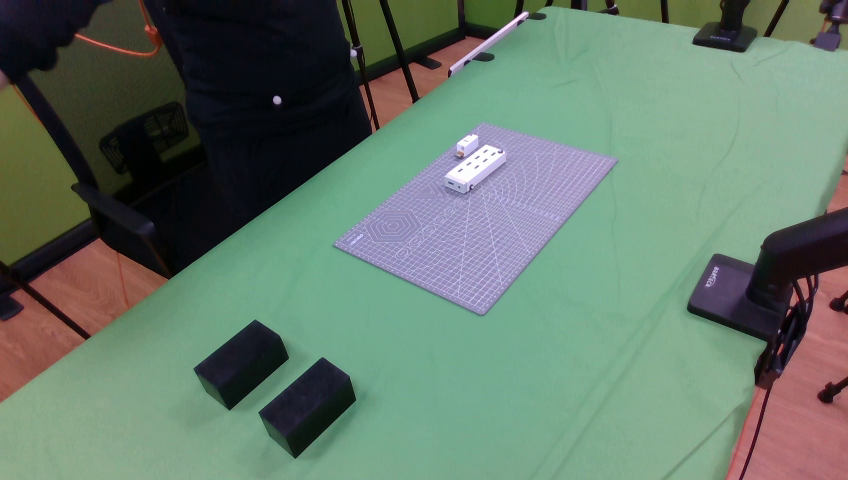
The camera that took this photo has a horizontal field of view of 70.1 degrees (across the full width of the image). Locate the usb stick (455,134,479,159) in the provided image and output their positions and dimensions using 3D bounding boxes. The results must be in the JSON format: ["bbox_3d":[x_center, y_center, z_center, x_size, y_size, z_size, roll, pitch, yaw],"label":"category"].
[{"bbox_3d":[0.080,-0.177,1.159,0.021,0.027,0.059,24,52,33],"label":"usb stick"}]

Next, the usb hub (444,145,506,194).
[{"bbox_3d":[0.095,-0.129,1.101,0.049,0.025,0.125,27,51,33],"label":"usb hub"}]
